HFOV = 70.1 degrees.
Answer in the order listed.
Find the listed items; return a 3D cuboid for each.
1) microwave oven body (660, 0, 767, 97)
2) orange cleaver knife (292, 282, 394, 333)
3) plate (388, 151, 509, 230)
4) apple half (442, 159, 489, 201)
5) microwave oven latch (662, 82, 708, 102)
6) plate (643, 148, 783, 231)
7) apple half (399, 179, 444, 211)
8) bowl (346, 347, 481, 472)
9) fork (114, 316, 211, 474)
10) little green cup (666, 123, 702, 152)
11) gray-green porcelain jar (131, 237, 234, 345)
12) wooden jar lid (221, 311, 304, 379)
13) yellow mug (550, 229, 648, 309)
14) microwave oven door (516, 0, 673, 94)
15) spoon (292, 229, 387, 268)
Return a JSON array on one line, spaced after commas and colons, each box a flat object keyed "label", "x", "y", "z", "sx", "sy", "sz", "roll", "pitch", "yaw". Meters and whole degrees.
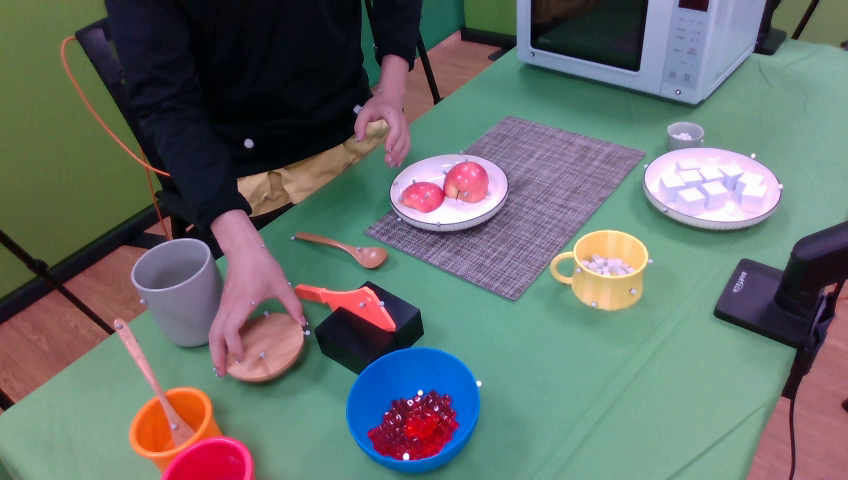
[{"label": "microwave oven body", "x": 0.473, "y": -0.517, "z": 1.314, "sx": 0.438, "sy": 0.261, "sz": 0.327, "roll": 26, "pitch": 51, "yaw": 34}, {"label": "orange cleaver knife", "x": -0.116, "y": 0.091, "z": 0.835, "sx": 0.209, "sy": 0.077, "sz": 0.012, "roll": 2, "pitch": 30, "yaw": 48}, {"label": "plate", "x": 0.044, "y": -0.082, "z": 1.042, "sx": 0.209, "sy": 0.038, "sz": 0.208, "roll": -4, "pitch": 40, "yaw": 4}, {"label": "apple half", "x": 0.074, "y": -0.110, "z": 1.047, "sx": 0.080, "sy": 0.053, "sz": 0.075, "roll": 21, "pitch": 46, "yaw": 30}, {"label": "microwave oven latch", "x": 0.517, "y": -0.298, "z": 1.203, "sx": 0.078, "sy": 0.029, "sz": 0.030, "roll": 28, "pitch": 52, "yaw": 35}, {"label": "plate", "x": 0.464, "y": -0.080, "z": 0.986, "sx": 0.207, "sy": 0.039, "sz": 0.206, "roll": -4, "pitch": 40, "yaw": 4}, {"label": "apple half", "x": -0.004, "y": -0.088, "z": 1.045, "sx": 0.081, "sy": 0.033, "sz": 0.081, "roll": -2, "pitch": 43, "yaw": 2}, {"label": "bowl", "x": -0.008, "y": 0.205, "z": 0.691, "sx": 0.151, "sy": 0.077, "sz": 0.150, "roll": -4, "pitch": 40, "yaw": 4}, {"label": "fork", "x": -0.309, "y": 0.179, "z": 0.708, "sx": 0.028, "sy": 0.018, "sz": 0.207, "roll": -30, "pitch": 89, "yaw": -23}, {"label": "little green cup", "x": 0.472, "y": -0.183, "z": 1.102, "sx": 0.061, "sy": 0.039, "sz": 0.061, "roll": -5, "pitch": 41, "yaw": 5}, {"label": "gray-green porcelain jar", "x": -0.333, "y": 0.076, "z": 0.849, "sx": 0.106, "sy": 0.127, "sz": 0.105, "roll": -4, "pitch": 41, "yaw": 4}, {"label": "wooden jar lid", "x": -0.211, "y": 0.140, "z": 0.796, "sx": 0.108, "sy": 0.021, "sz": 0.108, "roll": -4, "pitch": 41, "yaw": 4}, {"label": "yellow mug", "x": 0.245, "y": 0.040, "z": 0.857, "sx": 0.130, "sy": 0.064, "sz": 0.099, "roll": 1, "pitch": 42, "yaw": 11}, {"label": "microwave oven door", "x": 0.344, "y": -0.458, "z": 1.256, "sx": 0.353, "sy": 0.245, "sz": 0.039, "roll": 26, "pitch": 52, "yaw": 33}, {"label": "spoon", "x": -0.141, "y": 0.006, "z": 0.982, "sx": 0.192, "sy": 0.022, "sz": 0.041, "roll": 18, "pitch": 69, "yaw": 25}]
